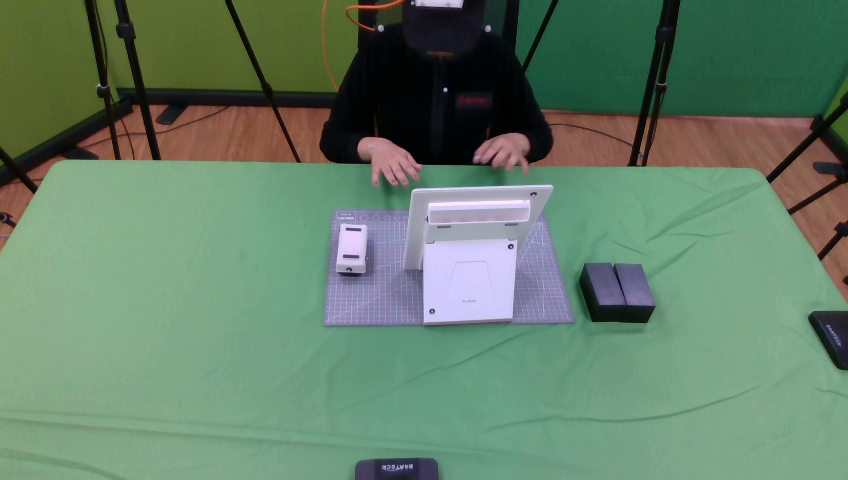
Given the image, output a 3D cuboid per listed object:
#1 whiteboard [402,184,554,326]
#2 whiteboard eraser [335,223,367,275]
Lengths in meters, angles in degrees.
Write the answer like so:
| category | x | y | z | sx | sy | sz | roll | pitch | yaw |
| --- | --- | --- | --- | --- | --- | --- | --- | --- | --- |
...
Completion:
| category | x | y | z | sx | sy | sz | roll | pitch | yaw |
| --- | --- | --- | --- | --- | --- | --- | --- | --- | --- |
| whiteboard | 0.081 | 0.044 | 1.005 | 0.217 | 0.306 | 0.143 | -1 | 66 | -6 |
| whiteboard eraser | -0.139 | 0.017 | 1.154 | 0.055 | 0.042 | 0.112 | 1 | 46 | -3 |
